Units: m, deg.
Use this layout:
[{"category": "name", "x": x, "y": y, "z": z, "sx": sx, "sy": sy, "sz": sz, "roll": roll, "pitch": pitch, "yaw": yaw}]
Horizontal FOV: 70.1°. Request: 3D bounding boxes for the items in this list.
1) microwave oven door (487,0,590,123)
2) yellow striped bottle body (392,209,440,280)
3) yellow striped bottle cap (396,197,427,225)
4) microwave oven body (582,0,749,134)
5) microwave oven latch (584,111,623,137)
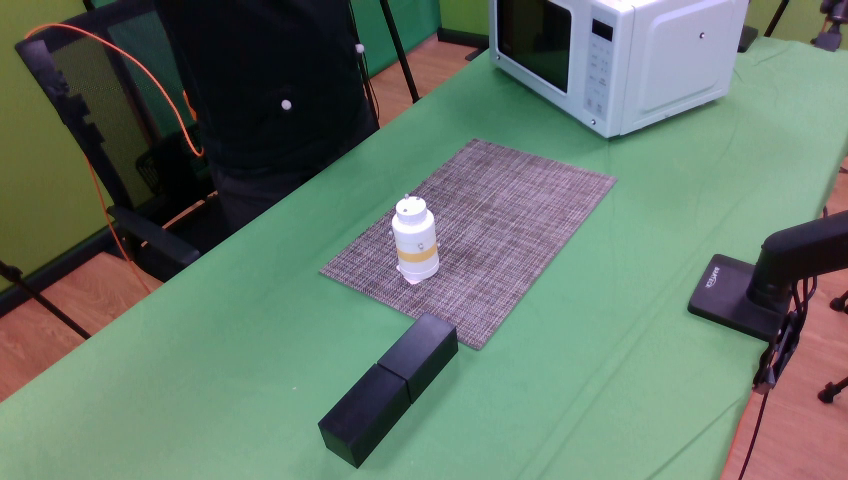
[{"category": "microwave oven door", "x": 0.231, "y": -0.420, "z": 1.230, "sx": 0.039, "sy": 0.245, "sz": 0.352, "roll": -22, "pitch": 43, "yaw": -16}, {"category": "yellow striped bottle body", "x": -0.013, "y": -0.003, "z": 0.892, "sx": 0.063, "sy": 0.121, "sz": 0.062, "roll": -4, "pitch": 41, "yaw": 4}, {"category": "yellow striped bottle cap", "x": -0.018, "y": -0.042, "z": 0.858, "sx": 0.044, "sy": 0.019, "sz": 0.044, "roll": -4, "pitch": 39, "yaw": 4}, {"category": "microwave oven body", "x": 0.382, "y": -0.444, "z": 1.246, "sx": 0.327, "sy": 0.261, "sz": 0.437, "roll": -22, "pitch": 42, "yaw": -16}, {"category": "microwave oven latch", "x": 0.337, "y": -0.222, "z": 1.142, "sx": 0.030, "sy": 0.029, "sz": 0.078, "roll": -21, "pitch": 42, "yaw": -14}]
